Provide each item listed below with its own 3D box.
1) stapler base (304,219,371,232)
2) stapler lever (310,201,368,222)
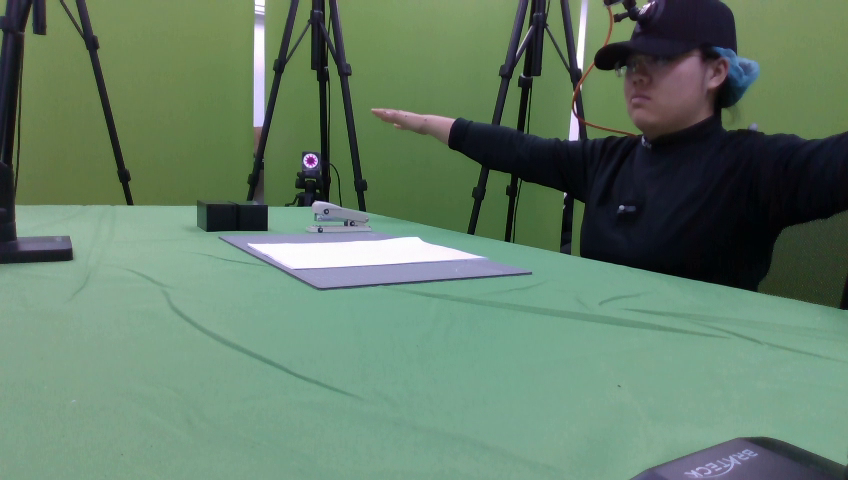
[{"bbox_3d":[-0.169,-0.030,1.186,0.131,0.024,0.041,0,9,-33],"label":"stapler base"},{"bbox_3d":[-0.166,-0.055,1.185,0.119,0.040,0.026,0,9,-33],"label":"stapler lever"}]
